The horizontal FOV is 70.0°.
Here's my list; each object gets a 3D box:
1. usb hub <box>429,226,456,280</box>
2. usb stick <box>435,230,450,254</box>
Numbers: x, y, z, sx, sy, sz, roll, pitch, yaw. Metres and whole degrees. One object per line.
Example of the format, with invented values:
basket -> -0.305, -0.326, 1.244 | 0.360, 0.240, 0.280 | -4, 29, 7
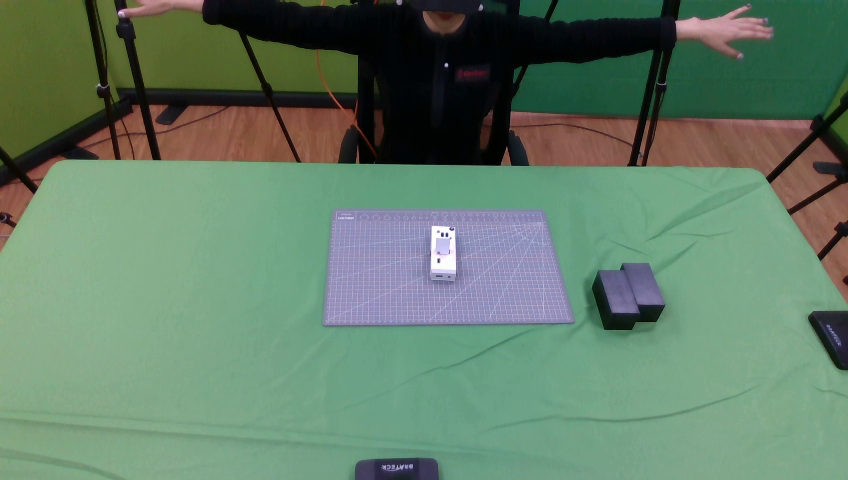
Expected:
usb hub -> 0.037, 0.024, 1.173 | 0.049, 0.025, 0.124 | 3, 46, -2
usb stick -> 0.034, 0.009, 1.146 | 0.027, 0.059, 0.021 | 3, 46, -4
